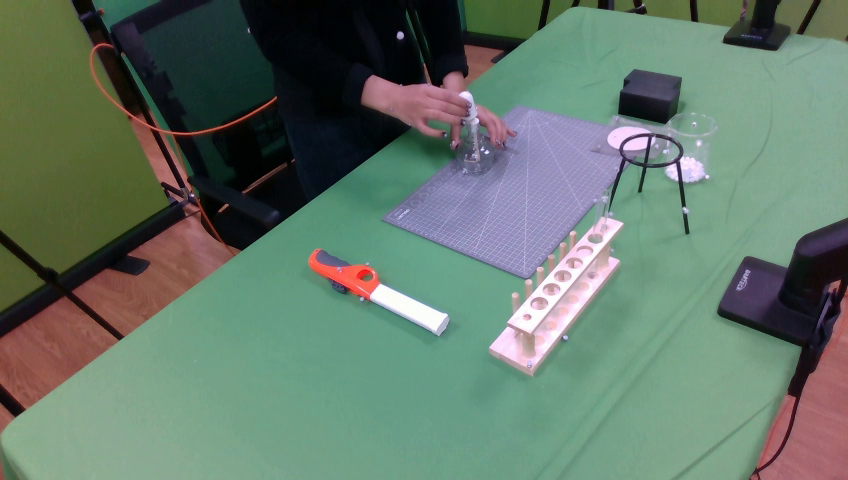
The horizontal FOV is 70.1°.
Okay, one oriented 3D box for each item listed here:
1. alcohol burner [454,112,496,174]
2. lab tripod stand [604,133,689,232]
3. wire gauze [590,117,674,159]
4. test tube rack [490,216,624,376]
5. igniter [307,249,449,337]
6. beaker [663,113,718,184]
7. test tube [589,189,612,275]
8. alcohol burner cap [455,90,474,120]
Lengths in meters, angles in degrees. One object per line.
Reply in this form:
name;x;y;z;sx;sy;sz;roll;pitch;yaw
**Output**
alcohol burner;0.092;-0.182;1.102;0.078;0.119;0.077;-5;42;5
lab tripod stand;0.347;-0.086;0.932;0.148;0.132;0.147;-4;40;4
wire gauze;0.393;-0.192;1.139;0.120;0.011;0.125;19;47;28
test tube rack;0.184;0.064;0.822;0.066;0.085;0.243;24;50;33
igniter;-0.079;0.073;0.905;0.274;0.025;0.057;24;61;32
beaker;0.442;-0.151;1.018;0.084;0.101;0.074;-1;40;11
test tube;0.238;-0.007;0.818;0.017;0.151;0.017;-3;43;4
alcohol burner cap;0.069;-0.235;1.041;0.034;0.048;0.033;-2;38;2
